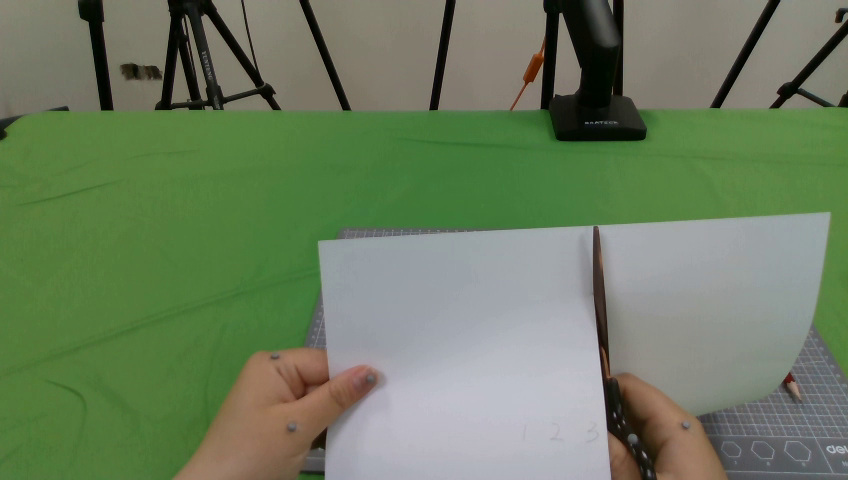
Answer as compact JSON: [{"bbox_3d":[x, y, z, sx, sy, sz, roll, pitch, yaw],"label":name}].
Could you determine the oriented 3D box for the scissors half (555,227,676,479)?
[{"bbox_3d":[0.103,0.073,0.336,0.013,0.040,0.174,-15,75,-14],"label":"scissors half"}]

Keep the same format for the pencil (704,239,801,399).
[{"bbox_3d":[0.291,0.063,0.543,0.012,0.012,0.192,-2,39,0],"label":"pencil"}]

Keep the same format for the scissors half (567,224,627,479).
[{"bbox_3d":[0.098,0.076,0.357,0.013,0.176,0.040,-15,13,-19],"label":"scissors half"}]
